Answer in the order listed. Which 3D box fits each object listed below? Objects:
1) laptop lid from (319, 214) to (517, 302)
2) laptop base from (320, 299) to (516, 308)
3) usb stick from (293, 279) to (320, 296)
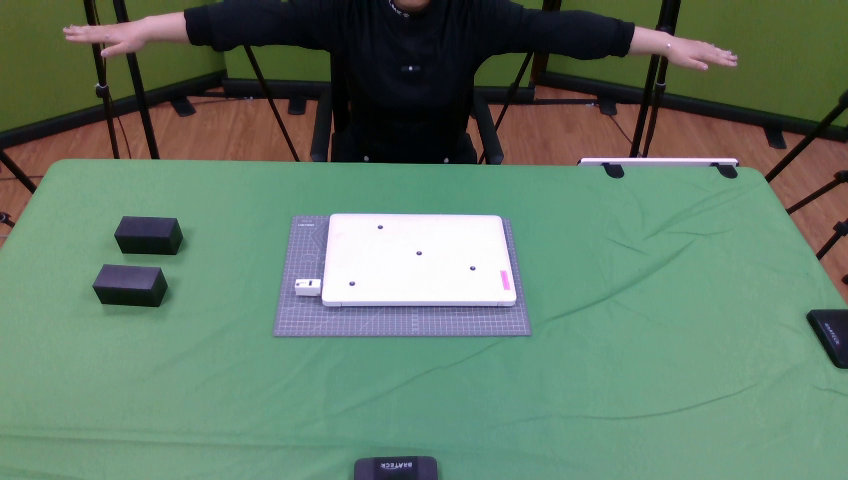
[{"bbox_3d":[-0.013,0.029,1.154,0.357,0.013,0.240,2,43,-3],"label":"laptop lid"},{"bbox_3d":[-0.013,0.039,1.160,0.355,0.023,0.234,0,43,-4],"label":"laptop base"},{"bbox_3d":[-0.202,0.086,1.083,0.059,0.027,0.021,3,46,-5],"label":"usb stick"}]
